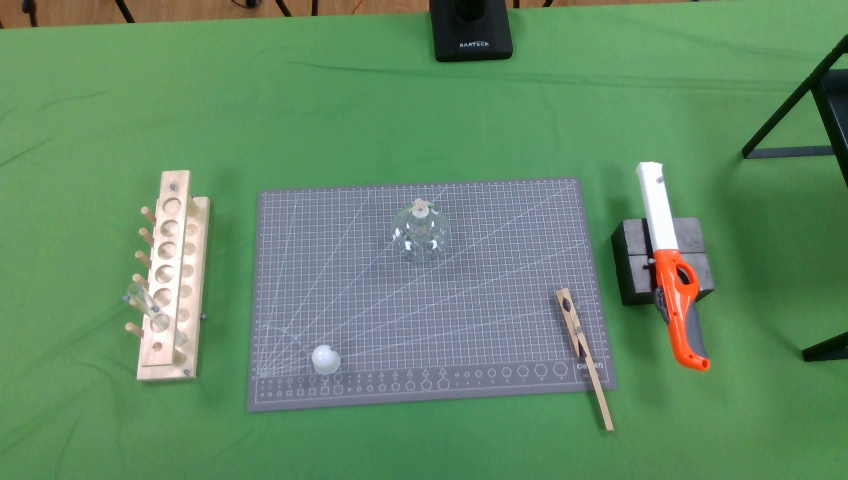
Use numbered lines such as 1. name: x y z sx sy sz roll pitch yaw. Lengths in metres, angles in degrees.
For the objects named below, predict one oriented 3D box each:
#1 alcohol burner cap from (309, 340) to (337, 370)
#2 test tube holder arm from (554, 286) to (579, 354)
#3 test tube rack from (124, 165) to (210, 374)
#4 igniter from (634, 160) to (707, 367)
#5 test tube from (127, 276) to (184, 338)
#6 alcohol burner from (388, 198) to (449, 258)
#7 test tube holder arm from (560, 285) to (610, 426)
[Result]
1. alcohol burner cap: -0.123 0.136 0.729 0.034 0.048 0.033 1 67 -3
2. test tube holder arm: 0.183 0.102 0.768 0.010 0.015 0.087 -20 71 15
3. test tube rack: -0.318 0.034 0.742 0.067 0.086 0.240 -2 68 -3
4. igniter: 0.302 0.022 0.752 0.057 0.025 0.274 0 65 -5
5. test tube: -0.294 0.078 0.672 0.017 0.151 0.017 2 61 -2
6. alcohol burner: -0.007 -0.023 0.760 0.078 0.120 0.077 0 68 0
7. test tube holder arm: 0.199 0.141 0.753 0.013 0.015 0.177 -20 71 14
